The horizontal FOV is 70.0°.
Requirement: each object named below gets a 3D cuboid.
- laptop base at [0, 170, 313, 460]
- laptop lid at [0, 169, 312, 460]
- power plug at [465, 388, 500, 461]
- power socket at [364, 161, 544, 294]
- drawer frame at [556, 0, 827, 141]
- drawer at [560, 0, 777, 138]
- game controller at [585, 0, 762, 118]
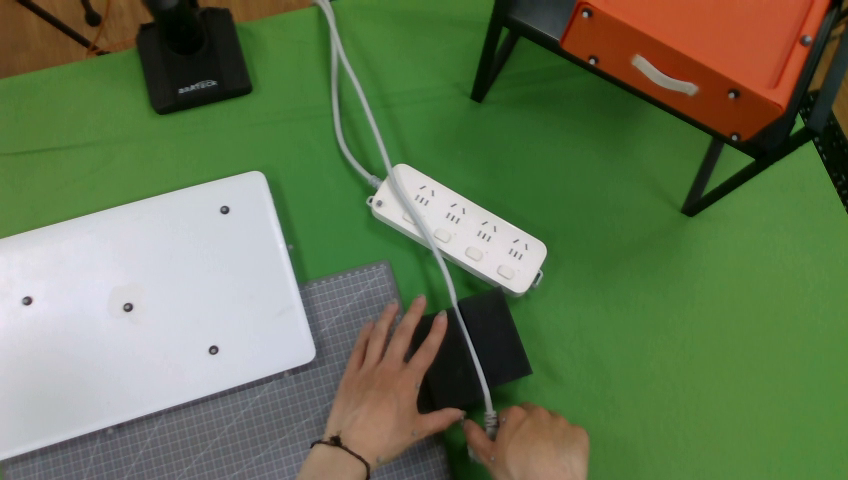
[{"bbox_3d":[-0.323,0.073,0.673,0.355,0.023,0.234,-17,80,-8],"label":"laptop base"},{"bbox_3d":[-0.322,0.072,0.660,0.357,0.013,0.240,-15,79,-8],"label":"laptop lid"},{"bbox_3d":[0.067,0.202,0.656,0.035,0.052,0.072,22,68,-15],"label":"power plug"},{"bbox_3d":[0.038,-0.015,0.714,0.226,0.033,0.072,30,75,4],"label":"power socket"},{"bbox_3d":[0.264,-0.237,0.575,0.201,0.083,0.213,28,75,3],"label":"drawer frame"},{"bbox_3d":[0.264,-0.233,0.576,0.194,0.073,0.211,29,75,4],"label":"drawer"},{"bbox_3d":[0.243,-0.194,0.579,0.155,0.052,0.097,32,79,7],"label":"game controller"}]
